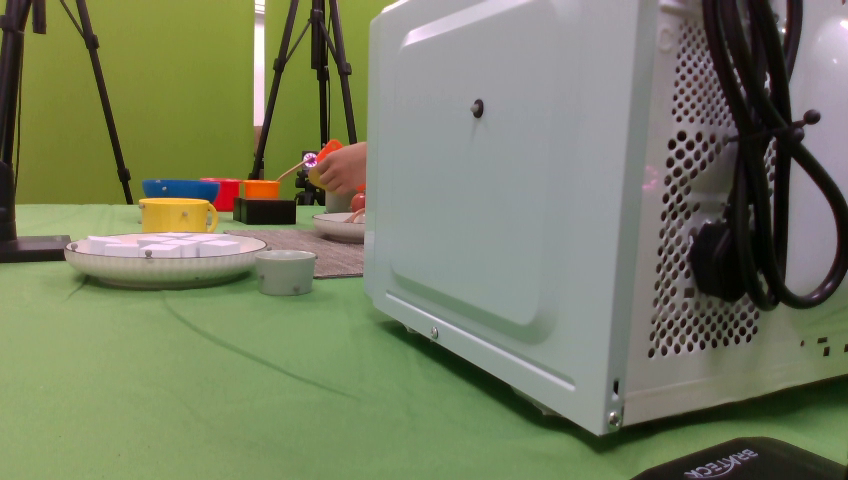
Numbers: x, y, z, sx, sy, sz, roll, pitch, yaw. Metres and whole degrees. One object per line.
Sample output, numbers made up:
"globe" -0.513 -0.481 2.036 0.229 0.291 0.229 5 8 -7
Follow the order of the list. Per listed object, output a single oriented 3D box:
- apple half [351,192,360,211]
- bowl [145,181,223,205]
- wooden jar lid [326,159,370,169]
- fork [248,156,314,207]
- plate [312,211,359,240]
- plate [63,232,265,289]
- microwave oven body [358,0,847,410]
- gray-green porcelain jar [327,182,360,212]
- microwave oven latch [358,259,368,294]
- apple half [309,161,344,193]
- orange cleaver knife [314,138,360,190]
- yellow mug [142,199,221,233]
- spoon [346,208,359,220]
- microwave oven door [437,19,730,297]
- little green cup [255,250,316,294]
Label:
"apple half" -0.106 -0.065 1.260 0.081 0.074 0.053 1 9 -35
"bowl" -0.499 -0.081 1.261 0.151 0.077 0.151 2 8 0
"wooden jar lid" -0.185 -0.187 1.481 0.108 0.020 0.108 4 6 0
"fork" -0.360 -0.147 1.523 0.207 0.019 0.028 -43 18 -6
"plate" -0.091 -0.026 1.063 0.209 0.038 0.209 2 7 0
"plate" -0.288 0.021 0.687 0.208 0.039 0.207 2 7 0
"microwave oven body" 0.210 -0.051 0.471 0.444 0.260 0.324 -1 7 -28
"gray-green porcelain jar" -0.187 -0.125 1.490 0.106 0.126 0.106 2 8 0
"microwave oven latch" -0.019 0.031 0.531 0.079 0.029 0.030 -2 7 -29
"apple half" -0.191 -0.137 1.231 0.081 0.081 0.033 5 52 23
"orange cleaver knife" -0.142 -0.154 1.353 0.212 0.077 0.012 27 -7 -24
"yellow mug" -0.373 -0.030 0.948 0.099 0.064 0.131 5 7 30
"spoon" -0.124 -0.047 1.117 0.041 0.021 0.194 -2 18 17
"microwave oven door" 0.180 -0.076 0.618 0.358 0.243 0.039 -2 9 -28
"little green cup" -0.144 0.032 0.627 0.061 0.038 0.061 3 6 0
